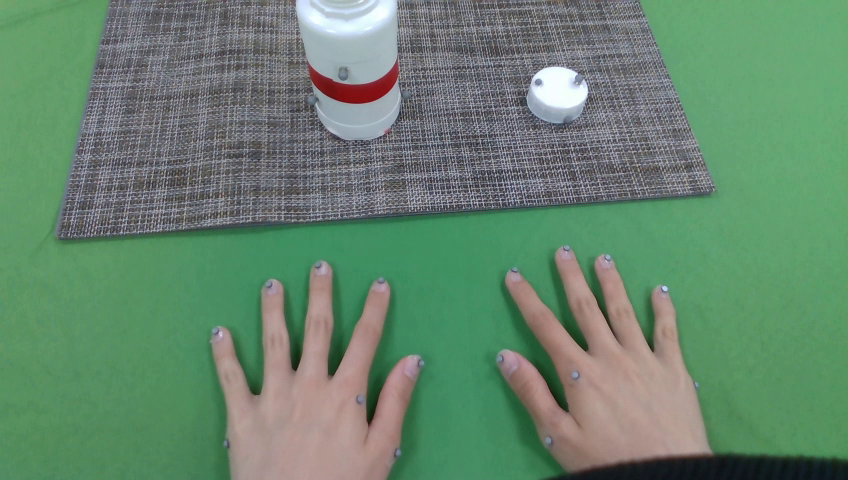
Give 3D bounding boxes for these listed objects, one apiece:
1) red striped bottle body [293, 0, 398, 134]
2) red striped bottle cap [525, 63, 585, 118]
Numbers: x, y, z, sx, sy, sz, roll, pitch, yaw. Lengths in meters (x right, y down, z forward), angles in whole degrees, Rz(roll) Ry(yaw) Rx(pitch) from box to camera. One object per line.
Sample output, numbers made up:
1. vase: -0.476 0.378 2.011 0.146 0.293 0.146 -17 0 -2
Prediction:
1. red striped bottle body: -0.050 -0.132 0.404 0.063 0.120 0.062 1 61 -1
2. red striped bottle cap: 0.100 -0.114 0.460 0.044 0.018 0.044 1 57 -1
